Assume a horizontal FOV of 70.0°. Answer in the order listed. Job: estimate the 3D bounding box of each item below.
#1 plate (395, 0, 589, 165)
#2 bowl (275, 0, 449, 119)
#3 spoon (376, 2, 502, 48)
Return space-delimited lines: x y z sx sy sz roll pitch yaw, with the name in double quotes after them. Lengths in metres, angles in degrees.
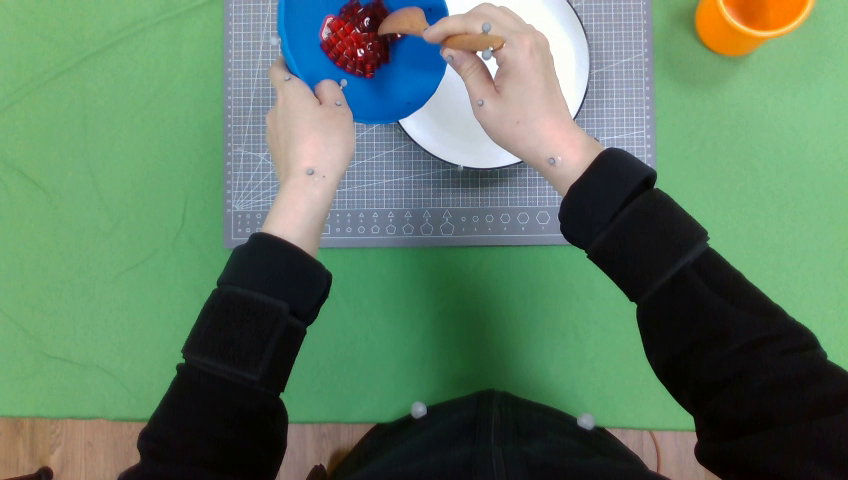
0.060 -0.178 0.616 0.209 0.038 0.209 0 88 3 "plate"
-0.062 -0.179 0.515 0.152 0.076 0.152 -6 103 -30 "bowl"
0.009 -0.158 0.451 0.041 0.191 0.022 -33 126 -10 "spoon"
